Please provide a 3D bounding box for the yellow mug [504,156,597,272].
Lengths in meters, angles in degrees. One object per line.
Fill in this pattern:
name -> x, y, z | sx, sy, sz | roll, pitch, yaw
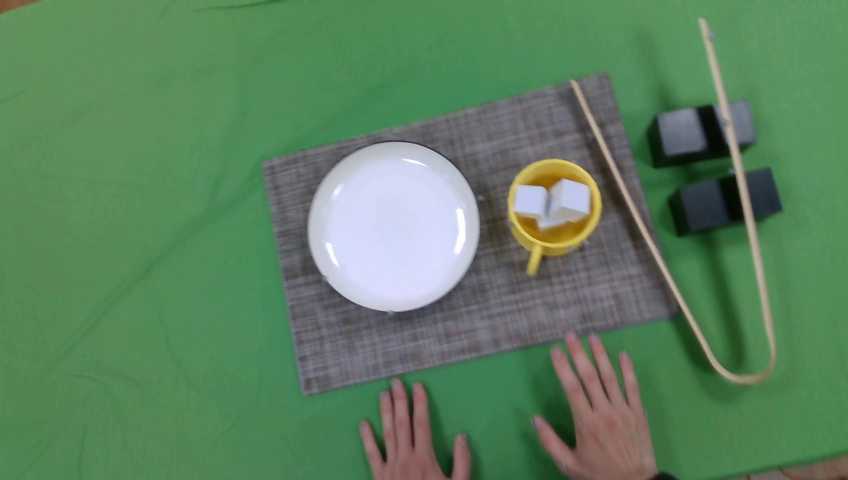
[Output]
yellow mug -> 0.137, -0.025, 0.692 | 0.100, 0.064, 0.130 | 19, 84, 9

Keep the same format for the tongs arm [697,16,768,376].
tongs arm -> 0.320, -0.048, 0.654 | 0.050, 0.026, 0.384 | -14, 85, 29

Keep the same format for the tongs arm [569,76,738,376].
tongs arm -> 0.255, -0.024, 0.696 | 0.028, 0.028, 0.385 | -28, 78, 24

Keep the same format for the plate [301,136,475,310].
plate -> -0.041, -0.019, 0.727 | 0.207, 0.039, 0.207 | -1, 81, 6
